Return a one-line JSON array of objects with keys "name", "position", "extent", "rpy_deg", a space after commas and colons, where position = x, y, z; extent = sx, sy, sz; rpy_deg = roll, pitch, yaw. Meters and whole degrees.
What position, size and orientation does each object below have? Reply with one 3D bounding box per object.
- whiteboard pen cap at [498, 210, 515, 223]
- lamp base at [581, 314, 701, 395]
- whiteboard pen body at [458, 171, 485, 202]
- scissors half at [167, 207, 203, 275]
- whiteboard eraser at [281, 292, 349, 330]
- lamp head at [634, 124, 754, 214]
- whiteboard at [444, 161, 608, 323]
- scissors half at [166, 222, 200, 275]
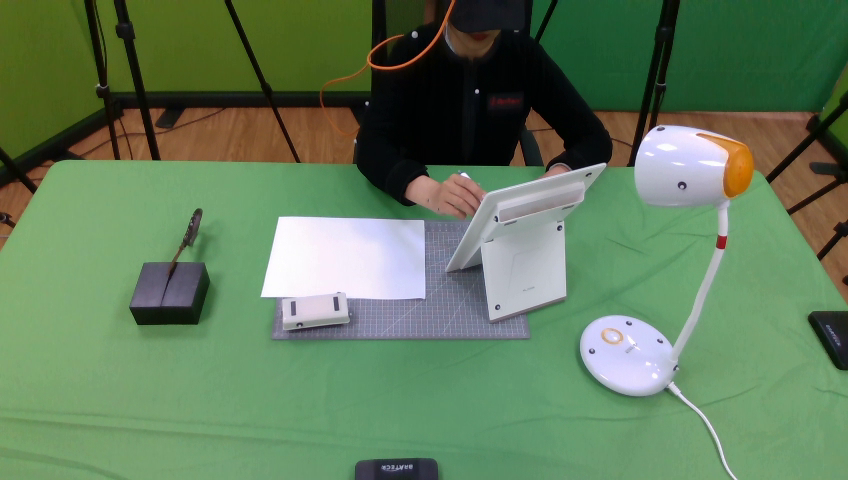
[{"name": "whiteboard pen cap", "position": [0.170, -0.048, 1.247], "extent": [0.033, 0.018, 0.018], "rpy_deg": [21, 47, 0]}, {"name": "lamp base", "position": [0.361, 0.145, 0.972], "extent": [0.178, 0.181, 0.160], "rpy_deg": [34, 53, 23]}, {"name": "whiteboard pen body", "position": [0.097, -0.079, 1.055], "extent": [0.017, 0.017, 0.140], "rpy_deg": [-18, 45, -20]}, {"name": "scissors half", "position": [-0.436, 0.000, 1.104], "extent": [0.013, 0.040, 0.174], "rpy_deg": [21, 44, -14]}, {"name": "whiteboard eraser", "position": [-0.189, 0.124, 1.045], "extent": [0.113, 0.042, 0.055], "rpy_deg": [-6, 46, -10]}, {"name": "lamp head", "position": [0.351, -0.089, 0.775], "extent": [0.112, 0.113, 0.122], "rpy_deg": [-30, 30, -28]}, {"name": "whiteboard", "position": [0.186, 0.025, 1.029], "extent": [0.217, 0.306, 0.143], "rpy_deg": [-14, 68, -18]}, {"name": "scissors half", "position": [-0.444, 0.015, 1.116], "extent": [0.013, 0.040, 0.174], "rpy_deg": [17, 27, -11]}]
